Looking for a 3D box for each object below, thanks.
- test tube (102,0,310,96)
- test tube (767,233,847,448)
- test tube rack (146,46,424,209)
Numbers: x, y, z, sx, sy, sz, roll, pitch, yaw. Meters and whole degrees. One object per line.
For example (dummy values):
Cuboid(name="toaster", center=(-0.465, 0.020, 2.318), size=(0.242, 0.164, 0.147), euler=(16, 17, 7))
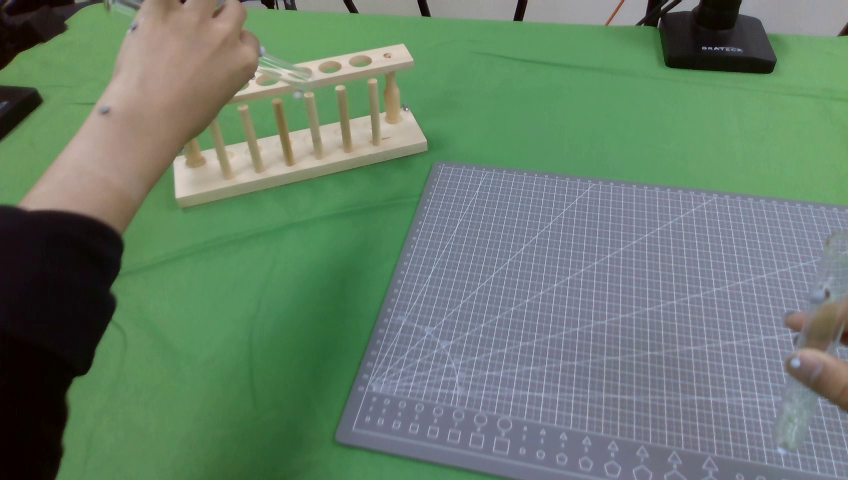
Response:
Cuboid(name="test tube", center=(-0.152, -0.141, 0.440), size=(0.152, 0.017, 0.017), euler=(19, 34, -34))
Cuboid(name="test tube", center=(0.177, 0.055, 0.280), size=(0.017, 0.152, 0.017), euler=(-10, 42, 9))
Cuboid(name="test tube rack", center=(-0.126, -0.110, 0.581), size=(0.243, 0.086, 0.066), euler=(-15, 47, -11))
